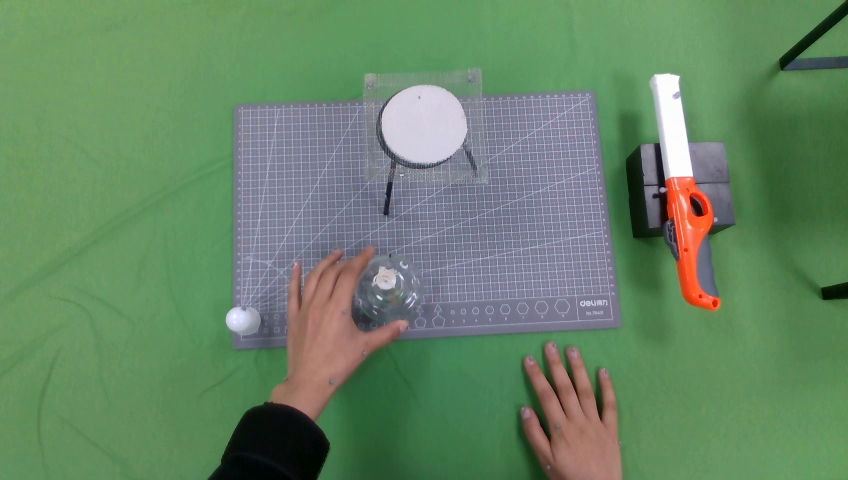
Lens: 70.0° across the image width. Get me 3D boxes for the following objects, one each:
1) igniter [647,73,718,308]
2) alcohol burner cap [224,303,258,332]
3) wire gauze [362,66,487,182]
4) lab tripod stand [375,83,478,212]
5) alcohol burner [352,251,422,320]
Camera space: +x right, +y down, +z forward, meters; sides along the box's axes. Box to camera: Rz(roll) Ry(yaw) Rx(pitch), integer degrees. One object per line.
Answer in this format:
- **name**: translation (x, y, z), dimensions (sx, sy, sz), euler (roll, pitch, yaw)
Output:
- **igniter**: translation (0.289, -0.059, 0.683), dimensions (0.057, 0.025, 0.275), euler (-2, 76, -5)
- **alcohol burner cap**: translation (-0.207, 0.085, 0.677), dimensions (0.034, 0.048, 0.033), euler (1, 77, -3)
- **wire gauze**: translation (0.000, -0.117, 0.608), dimensions (0.125, 0.011, 0.121), euler (0, 78, -1)
- **lab tripod stand**: translation (-0.008, -0.107, 0.675), dimensions (0.148, 0.132, 0.147), euler (0, 78, 0)
- **alcohol burner**: translation (-0.041, 0.047, 0.654), dimensions (0.078, 0.119, 0.077), euler (0, 80, 0)
